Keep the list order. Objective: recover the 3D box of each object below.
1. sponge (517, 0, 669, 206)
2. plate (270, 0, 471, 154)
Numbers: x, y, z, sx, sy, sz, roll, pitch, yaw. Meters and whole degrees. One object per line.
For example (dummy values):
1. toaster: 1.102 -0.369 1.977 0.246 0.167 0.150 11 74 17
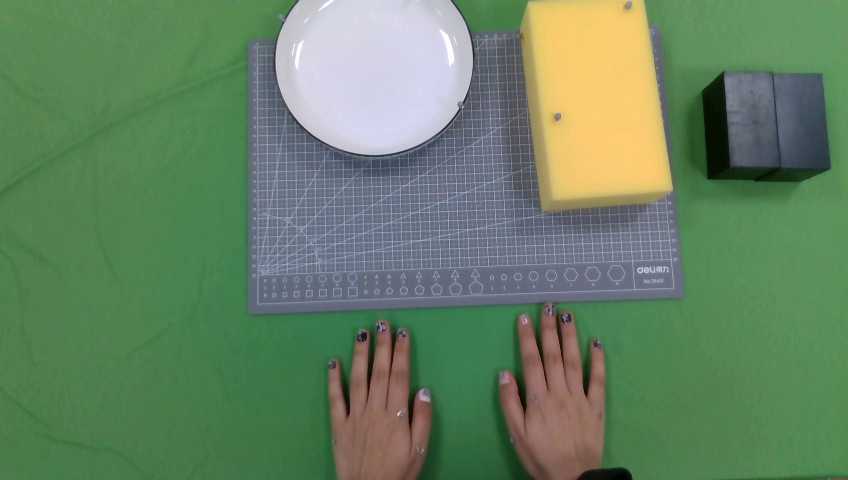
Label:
1. sponge: 0.169 -0.144 0.623 0.118 0.061 0.206 -6 82 -1
2. plate: -0.055 -0.188 0.640 0.209 0.038 0.208 0 83 0
